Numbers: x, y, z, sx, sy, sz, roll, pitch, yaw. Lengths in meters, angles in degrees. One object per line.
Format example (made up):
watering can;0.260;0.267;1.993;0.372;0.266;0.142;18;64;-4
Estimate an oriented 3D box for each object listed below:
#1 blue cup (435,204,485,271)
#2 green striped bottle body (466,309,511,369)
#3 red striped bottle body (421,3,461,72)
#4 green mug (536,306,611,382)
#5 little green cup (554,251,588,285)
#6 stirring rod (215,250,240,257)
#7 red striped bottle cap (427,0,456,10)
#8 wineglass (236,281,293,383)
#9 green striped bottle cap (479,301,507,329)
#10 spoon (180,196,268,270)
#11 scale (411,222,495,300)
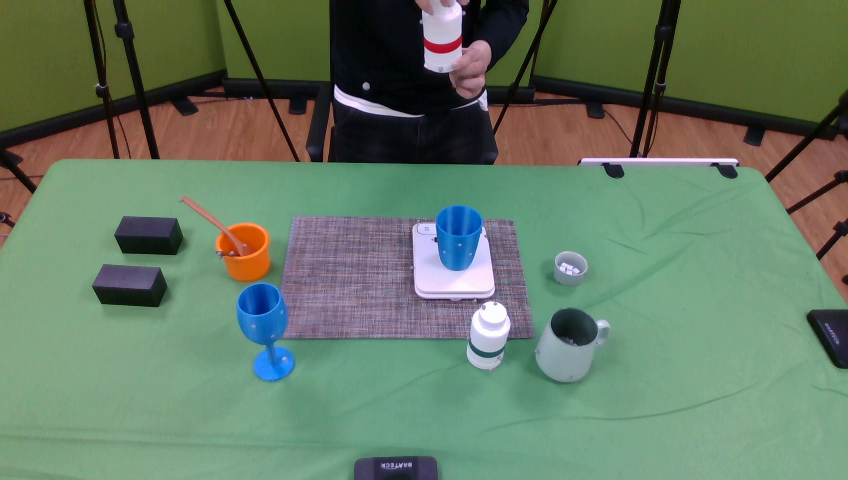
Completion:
blue cup;0.061;0.001;1.097;0.092;0.101;0.092;0;44;0
green striped bottle body;0.106;0.154;0.988;0.063;0.120;0.063;2;46;-2
red striped bottle body;0.028;-0.336;0.970;0.063;0.120;0.062;-2;53;3
green mug;0.250;0.167;0.996;0.125;0.105;0.092;-15;48;-19
little green cup;0.276;0.055;1.151;0.061;0.039;0.061;1;46;-1
stirring rod;-0.339;0.024;1.059;0.014;0.176;0.006;16;86;-6
red striped bottle cap;0.026;-0.370;0.925;0.044;0.018;0.044;-3;49;4
wineglass;-0.243;0.143;0.934;0.074;0.173;0.073;2;46;-2
green striped bottle cap;0.109;0.118;0.950;0.044;0.020;0.044;2;47;-2
spoon;-0.360;-0.014;1.094;0.021;0.194;0.041;-27;26;31
scale;0.052;0.031;1.158;0.149;0.032;0.199;1;46;-4
